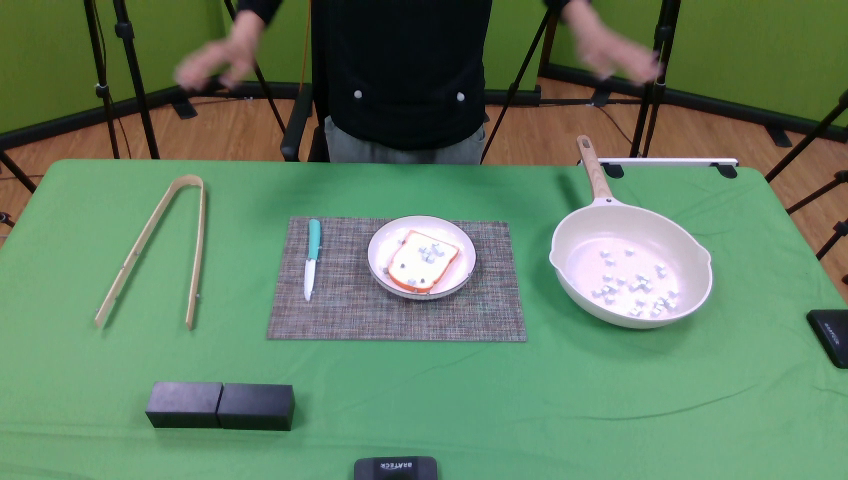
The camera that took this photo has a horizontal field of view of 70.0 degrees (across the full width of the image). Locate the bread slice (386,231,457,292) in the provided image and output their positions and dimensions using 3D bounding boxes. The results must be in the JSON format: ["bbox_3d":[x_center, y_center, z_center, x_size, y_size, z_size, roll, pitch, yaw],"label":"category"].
[{"bbox_3d":[-0.007,0.043,1.142,0.107,0.018,0.134,18,46,13],"label":"bread slice"}]

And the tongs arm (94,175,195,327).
[{"bbox_3d":[-0.515,0.006,1.142,0.051,0.026,0.382,4,45,-1],"label":"tongs arm"}]

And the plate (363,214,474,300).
[{"bbox_3d":[-0.010,0.036,1.146,0.208,0.039,0.206,3,46,-2],"label":"plate"}]

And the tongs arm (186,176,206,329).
[{"bbox_3d":[-0.435,0.009,1.151,0.028,0.028,0.385,-8,47,-8],"label":"tongs arm"}]

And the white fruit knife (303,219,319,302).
[{"bbox_3d":[-0.216,0.034,1.148,0.027,0.016,0.206,-20,46,16],"label":"white fruit knife"}]

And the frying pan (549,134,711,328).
[{"bbox_3d":[0.372,-0.035,1.203,0.307,0.103,0.484,-1,55,-6],"label":"frying pan"}]
